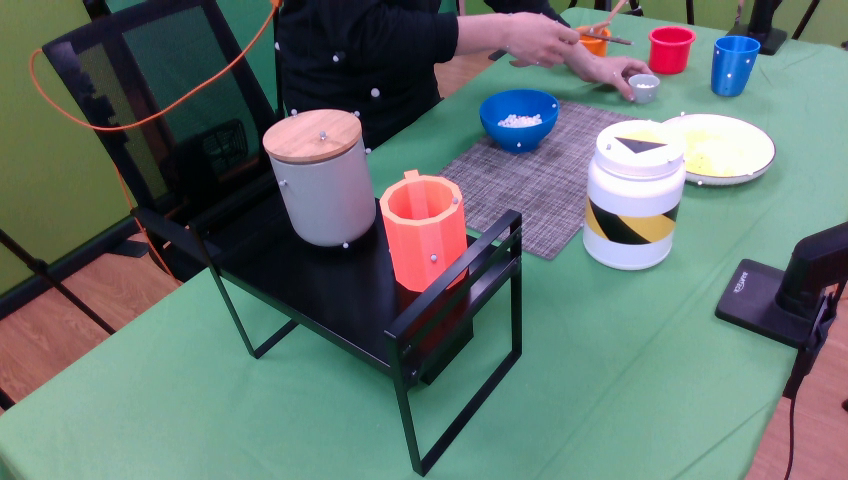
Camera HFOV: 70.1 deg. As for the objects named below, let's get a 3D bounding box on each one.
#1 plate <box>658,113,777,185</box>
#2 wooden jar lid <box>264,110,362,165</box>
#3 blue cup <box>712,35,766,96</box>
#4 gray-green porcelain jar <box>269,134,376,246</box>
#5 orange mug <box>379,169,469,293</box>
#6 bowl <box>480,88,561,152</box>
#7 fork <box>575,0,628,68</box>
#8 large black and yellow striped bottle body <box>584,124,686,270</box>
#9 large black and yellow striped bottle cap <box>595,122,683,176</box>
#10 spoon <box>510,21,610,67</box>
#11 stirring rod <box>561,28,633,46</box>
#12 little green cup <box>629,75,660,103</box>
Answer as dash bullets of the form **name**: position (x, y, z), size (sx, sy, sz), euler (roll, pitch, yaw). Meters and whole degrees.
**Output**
- **plate**: position (0.506, -0.158, 1.073), size (0.209, 0.038, 0.208), euler (-5, 40, 4)
- **wooden jar lid**: position (-0.122, -0.112, 0.673), size (0.108, 0.021, 0.108), euler (-4, 37, 4)
- **blue cup**: position (0.627, -0.350, 1.227), size (0.092, 0.100, 0.092), euler (-4, 39, 4)
- **gray-green porcelain jar**: position (-0.115, -0.064, 0.715), size (0.106, 0.127, 0.105), euler (-4, 40, 4)
- **orange mug**: position (-0.002, -0.019, 0.665), size (0.083, 0.101, 0.125), euler (-12, 45, -4)
- **bowl**: position (0.185, -0.222, 1.160), size (0.151, 0.077, 0.150), euler (-4, 40, 4)
- **fork**: position (0.413, -0.481, 1.377), size (0.207, 0.019, 0.028), euler (-57, 43, 12)
- **large black and yellow striped bottle body**: position (0.304, -0.063, 0.880), size (0.131, 0.185, 0.130), euler (-5, 41, 5)
- **large black and yellow striped bottle cap**: position (0.293, -0.126, 0.826), size (0.115, 0.019, 0.114), euler (-3, 40, 3)
- **spoon**: position (0.238, -0.348, 1.078), size (0.192, 0.021, 0.042), euler (-19, -9, 38)
- **stirring rod**: position (0.382, -0.453, 1.346), size (0.174, 0.006, 0.014), euler (26, 54, 34)
- **little green cup**: position (0.458, -0.314, 1.259), size (0.061, 0.039, 0.061), euler (-3, 40, 3)
